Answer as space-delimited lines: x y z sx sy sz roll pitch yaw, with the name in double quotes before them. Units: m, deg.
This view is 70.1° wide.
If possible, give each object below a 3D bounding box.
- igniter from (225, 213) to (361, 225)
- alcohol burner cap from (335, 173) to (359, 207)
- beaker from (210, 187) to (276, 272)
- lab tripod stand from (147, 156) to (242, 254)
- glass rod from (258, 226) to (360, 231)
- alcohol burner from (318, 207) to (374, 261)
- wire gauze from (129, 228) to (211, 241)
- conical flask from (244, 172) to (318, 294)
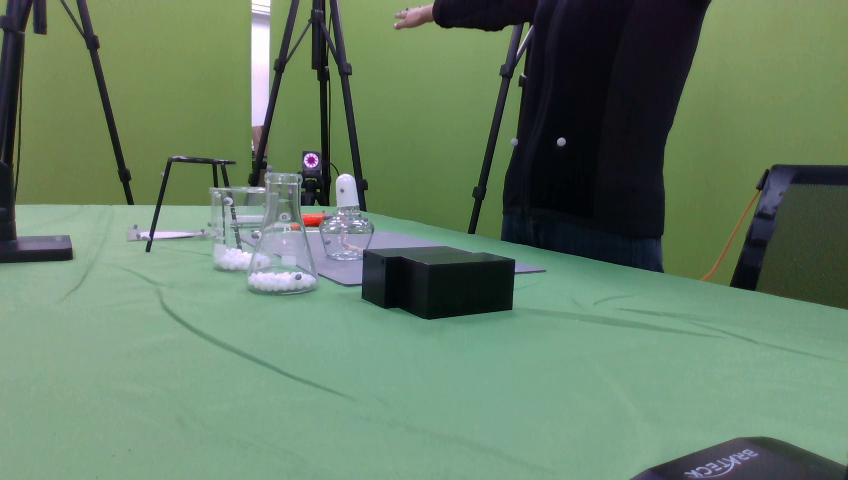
"igniter" -0.257 -0.042 1.221 0.278 0.025 0.057 -2 -2 -32
"alcohol burner cap" -0.108 -0.068 0.829 0.034 0.048 0.034 -7 4 1
"beaker" -0.224 -0.014 0.738 0.084 0.100 0.074 4 7 16
"lab tripod stand" -0.310 -0.050 0.858 0.148 0.131 0.148 4 6 0
"glass rod" -0.215 -0.022 1.151 0.201 0.008 0.008 -2 8 -27
"alcohol burner" -0.107 -0.032 0.833 0.078 0.119 0.078 1 6 0
"wire gauze" -0.419 -0.010 0.999 0.122 0.011 0.124 0 6 -25
"conical flask" -0.148 -0.009 0.628 0.075 0.122 0.075 2 7 0
